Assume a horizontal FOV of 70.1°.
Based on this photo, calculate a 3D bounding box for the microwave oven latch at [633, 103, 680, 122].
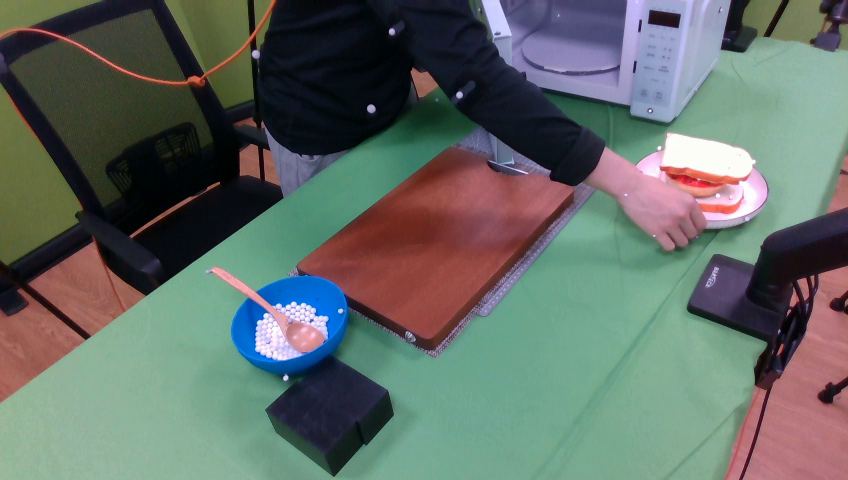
[{"bbox_3d":[0.443,-0.249,1.157,0.078,0.029,0.030,21,49,30],"label":"microwave oven latch"}]

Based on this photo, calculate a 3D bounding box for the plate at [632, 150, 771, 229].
[{"bbox_3d":[0.447,-0.081,0.988,0.207,0.039,0.206,-4,40,3],"label":"plate"}]

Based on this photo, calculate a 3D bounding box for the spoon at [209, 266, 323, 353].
[{"bbox_3d":[-0.213,0.088,0.806,0.193,0.021,0.042,37,55,11],"label":"spoon"}]

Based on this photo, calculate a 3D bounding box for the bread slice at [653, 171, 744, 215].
[{"bbox_3d":[0.452,-0.084,0.992,0.131,0.019,0.105,11,45,21],"label":"bread slice"}]

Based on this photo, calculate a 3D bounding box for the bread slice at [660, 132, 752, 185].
[{"bbox_3d":[0.443,-0.126,0.951,0.134,0.018,0.107,14,43,14],"label":"bread slice"}]

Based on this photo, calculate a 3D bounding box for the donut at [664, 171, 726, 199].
[{"bbox_3d":[0.438,-0.105,0.973,0.099,0.048,0.098,-10,42,9],"label":"donut"}]

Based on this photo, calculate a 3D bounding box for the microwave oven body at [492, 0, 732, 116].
[{"bbox_3d":[0.377,-0.463,1.267,0.438,0.261,0.327,21,49,30],"label":"microwave oven body"}]

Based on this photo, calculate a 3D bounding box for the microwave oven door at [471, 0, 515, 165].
[{"bbox_3d":[0.127,-0.341,1.153,0.039,0.245,0.354,-7,41,2],"label":"microwave oven door"}]

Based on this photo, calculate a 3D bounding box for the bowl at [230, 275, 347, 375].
[{"bbox_3d":[-0.170,0.125,0.801,0.151,0.077,0.150,-4,39,4],"label":"bowl"}]
